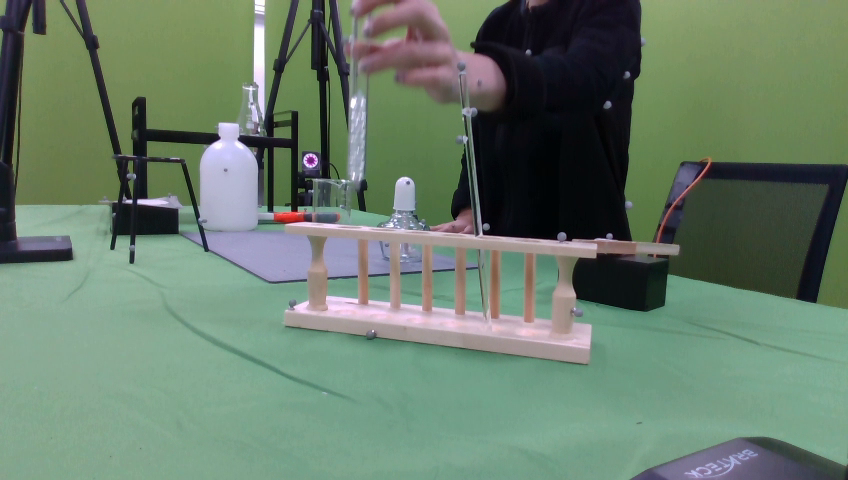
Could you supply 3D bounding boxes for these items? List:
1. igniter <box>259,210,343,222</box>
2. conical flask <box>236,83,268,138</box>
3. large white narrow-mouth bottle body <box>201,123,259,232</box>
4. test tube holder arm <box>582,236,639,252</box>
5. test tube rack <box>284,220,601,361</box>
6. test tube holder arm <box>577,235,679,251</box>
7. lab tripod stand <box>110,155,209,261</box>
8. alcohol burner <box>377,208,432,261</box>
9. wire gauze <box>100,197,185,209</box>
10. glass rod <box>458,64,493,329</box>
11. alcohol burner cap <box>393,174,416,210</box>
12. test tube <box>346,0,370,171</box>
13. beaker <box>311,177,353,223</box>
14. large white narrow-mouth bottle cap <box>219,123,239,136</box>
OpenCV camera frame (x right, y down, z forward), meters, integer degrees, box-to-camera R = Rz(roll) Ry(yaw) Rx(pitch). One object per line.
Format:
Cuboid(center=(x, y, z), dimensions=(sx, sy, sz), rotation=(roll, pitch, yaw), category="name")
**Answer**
Cuboid(center=(-0.303, -0.049, 1.258), dimensions=(0.278, 0.025, 0.057), rotation=(-2, -2, -28), category="igniter")
Cuboid(center=(-0.400, -0.298, 1.396), dimensions=(0.075, 0.122, 0.075), rotation=(2, 8, 0), category="conical flask")
Cuboid(center=(-0.358, -0.116, 1.116), dimensions=(0.102, 0.194, 0.102), rotation=(2, 8, 0), category="large white narrow-mouth bottle body")
Cuboid(center=(0.194, 0.004, 0.629), dimensions=(0.088, 0.015, 0.010), rotation=(2, 13, -38), category="test tube holder arm")
Cuboid(center=(0.013, 0.032, 0.482), dimensions=(0.242, 0.085, 0.067), rotation=(4, 7, 16), category="test tube rack")
Cuboid(center=(0.226, 0.004, 0.661), dimensions=(0.179, 0.015, 0.013), rotation=(1, 13, -39), category="test tube holder arm")
Cuboid(center=(-0.362, -0.046, 0.806), dimensions=(0.148, 0.131, 0.148), rotation=(2, 5, 0), category="lab tripod stand")
Cuboid(center=(-0.027, -0.031, 0.838), dimensions=(0.078, 0.119, 0.078), rotation=(0, 6, 0), category="alcohol burner")
Cuboid(center=(-0.469, -0.062, 1.008), dimensions=(0.126, 0.011, 0.121), rotation=(-2, 8, -25), category="wire gauze")
Cuboid(center=(0.039, -0.029, 0.449), dimensions=(0.008, 0.199, 0.008), rotation=(-7, 9, 1), category="glass rod")
Cuboid(center=(-0.025, -0.067, 0.833), dimensions=(0.034, 0.048, 0.034), rotation=(5, 12, -1), category="alcohol burner cap")
Cuboid(center=(-0.053, -0.130, 0.481), dimensions=(0.017, 0.150, 0.017), rotation=(2, 4, 0), category="test tube")
Cuboid(center=(-0.168, -0.064, 1.106), dimensions=(0.074, 0.100, 0.083), rotation=(-2, 9, -26), category="beaker")
Cuboid(center=(-0.356, -0.201, 1.104), dimensions=(0.038, 0.024, 0.037), rotation=(2, 8, 0), category="large white narrow-mouth bottle cap")
